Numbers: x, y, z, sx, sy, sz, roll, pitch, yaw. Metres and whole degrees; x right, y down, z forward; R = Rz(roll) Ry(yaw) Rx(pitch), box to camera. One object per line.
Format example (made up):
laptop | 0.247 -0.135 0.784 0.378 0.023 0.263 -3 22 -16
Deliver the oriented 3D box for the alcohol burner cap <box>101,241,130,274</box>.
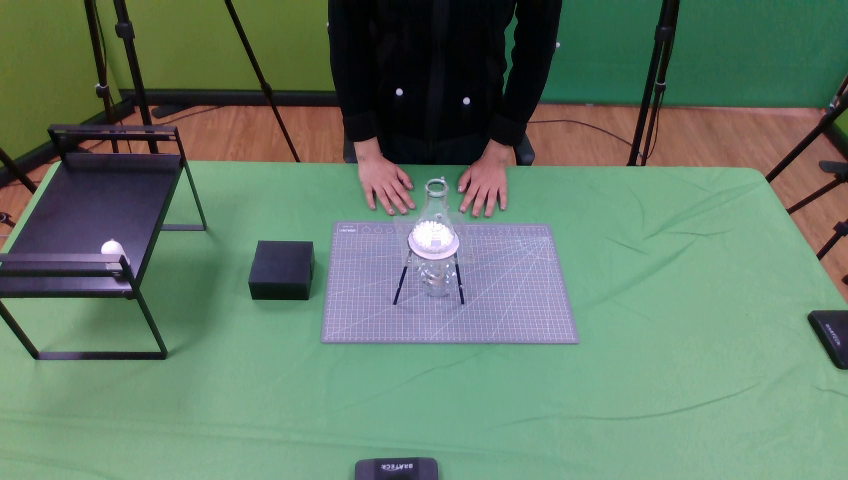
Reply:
alcohol burner cap | -0.449 0.022 0.878 0.034 0.048 0.033 3 45 -2

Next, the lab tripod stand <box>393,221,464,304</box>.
lab tripod stand | 0.010 0.045 1.075 0.148 0.132 0.147 2 48 -2

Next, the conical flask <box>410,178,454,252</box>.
conical flask | 0.016 -0.043 0.986 0.075 0.122 0.075 2 47 -2

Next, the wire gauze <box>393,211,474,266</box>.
wire gauze | 0.015 -0.002 1.029 0.125 0.011 0.120 -6 45 -6

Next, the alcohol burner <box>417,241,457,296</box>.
alcohol burner | 0.026 0.046 1.089 0.078 0.120 0.077 1 47 -1
